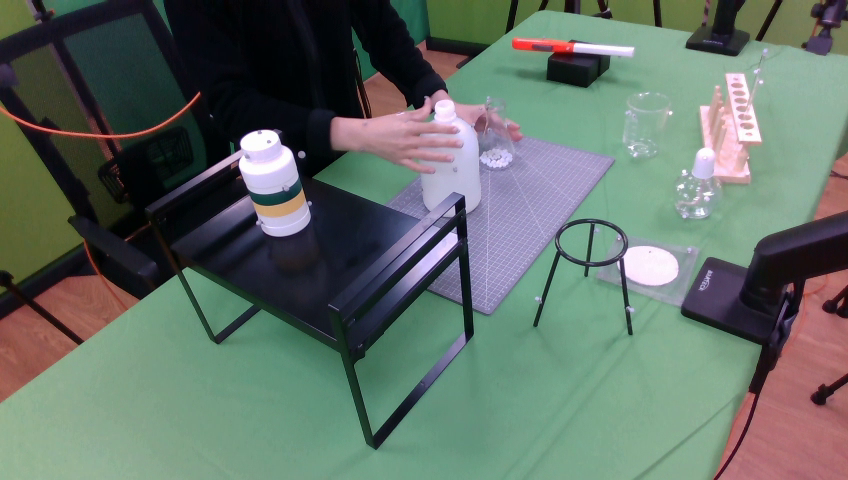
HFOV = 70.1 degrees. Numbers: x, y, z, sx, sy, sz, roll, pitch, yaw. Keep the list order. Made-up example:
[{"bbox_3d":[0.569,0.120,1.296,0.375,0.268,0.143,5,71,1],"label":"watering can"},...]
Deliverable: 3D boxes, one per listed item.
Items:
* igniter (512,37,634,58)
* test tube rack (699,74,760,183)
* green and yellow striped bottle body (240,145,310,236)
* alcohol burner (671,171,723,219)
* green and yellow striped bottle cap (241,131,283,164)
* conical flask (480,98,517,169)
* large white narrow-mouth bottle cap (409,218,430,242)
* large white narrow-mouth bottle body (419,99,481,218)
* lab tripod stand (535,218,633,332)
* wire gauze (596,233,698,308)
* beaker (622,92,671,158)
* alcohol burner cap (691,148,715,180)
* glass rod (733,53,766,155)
[{"bbox_3d":[0.328,-0.433,1.360,0.275,0.025,0.057,12,33,20],"label":"igniter"},{"bbox_3d":[0.547,-0.208,1.095,0.066,0.085,0.242,6,42,16],"label":"test tube rack"},{"bbox_3d":[-0.181,-0.069,0.729,0.063,0.120,0.063,-4,40,4],"label":"green and yellow striped bottle body"},{"bbox_3d":[0.434,-0.093,0.955,0.078,0.119,0.077,-3,43,4],"label":"alcohol burner"},{"bbox_3d":[-0.187,-0.107,0.695,0.045,0.020,0.045,-3,39,3],"label":"green and yellow striped bottle cap"},{"bbox_3d":[0.133,-0.198,1.108,0.075,0.122,0.075,-4,41,4],"label":"conical flask"},{"bbox_3d":[-0.008,-0.017,0.999,0.038,0.024,0.037,-3,39,3],"label":"large white narrow-mouth bottle cap"},{"bbox_3d":[0.042,-0.138,0.998,0.102,0.195,0.101,-3,40,3],"label":"large white narrow-mouth bottle body"},{"bbox_3d":[0.216,0.050,0.803,0.148,0.132,0.147,-4,42,4],"label":"lab tripod stand"},{"bbox_3d":[0.331,0.038,0.897,0.124,0.011,0.121,18,47,26],"label":"wire gauze"},{"bbox_3d":[0.402,-0.210,1.106,0.074,0.101,0.083,-9,40,-2],"label":"beaker"},{"bbox_3d":[0.432,-0.120,0.930,0.034,0.048,0.033,-7,48,8],"label":"alcohol burner cap"},{"bbox_3d":[0.540,-0.220,1.007,0.008,0.201,0.008,-5,45,6],"label":"glass rod"}]
